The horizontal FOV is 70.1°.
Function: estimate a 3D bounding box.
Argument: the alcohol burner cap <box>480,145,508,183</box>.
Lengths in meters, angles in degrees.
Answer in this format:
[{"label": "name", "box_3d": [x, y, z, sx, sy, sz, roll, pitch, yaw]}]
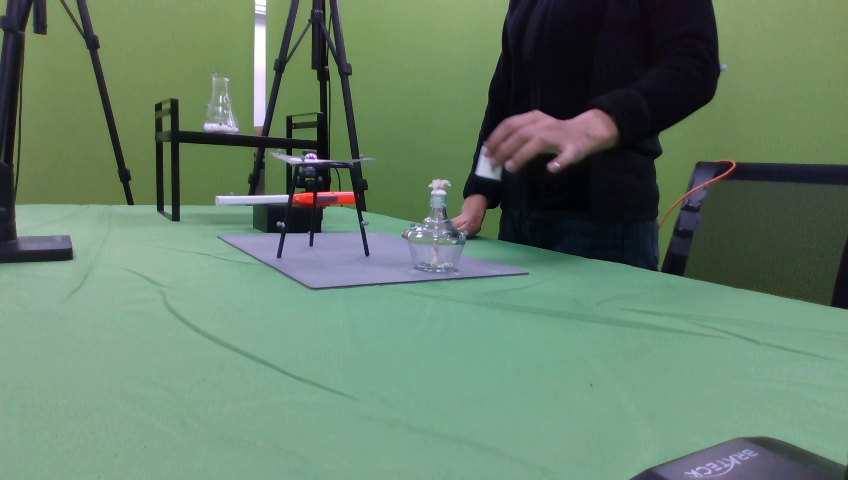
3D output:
[{"label": "alcohol burner cap", "box_3d": [0.090, -0.095, 0.757, 0.034, 0.048, 0.034, 8, 7, -1]}]

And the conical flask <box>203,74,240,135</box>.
[{"label": "conical flask", "box_3d": [-0.425, -0.284, 1.272, 0.075, 0.122, 0.075, 3, 7, 0]}]

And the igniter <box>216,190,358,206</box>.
[{"label": "igniter", "box_3d": [-0.248, -0.079, 1.142, 0.278, 0.025, 0.057, -5, 8, -31]}]

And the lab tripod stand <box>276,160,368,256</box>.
[{"label": "lab tripod stand", "box_3d": [-0.150, -0.046, 0.861, 0.148, 0.131, 0.148, 3, 9, 0]}]

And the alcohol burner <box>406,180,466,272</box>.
[{"label": "alcohol burner", "box_3d": [0.017, -0.018, 0.777, 0.078, 0.119, 0.078, 5, 7, 0]}]

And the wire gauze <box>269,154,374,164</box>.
[{"label": "wire gauze", "box_3d": [-0.146, -0.114, 0.860, 0.122, 0.011, 0.124, -2, 9, -29]}]
